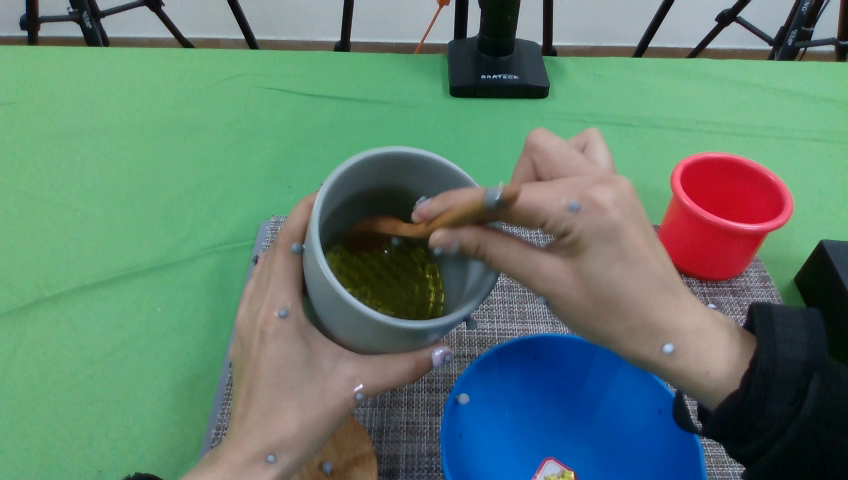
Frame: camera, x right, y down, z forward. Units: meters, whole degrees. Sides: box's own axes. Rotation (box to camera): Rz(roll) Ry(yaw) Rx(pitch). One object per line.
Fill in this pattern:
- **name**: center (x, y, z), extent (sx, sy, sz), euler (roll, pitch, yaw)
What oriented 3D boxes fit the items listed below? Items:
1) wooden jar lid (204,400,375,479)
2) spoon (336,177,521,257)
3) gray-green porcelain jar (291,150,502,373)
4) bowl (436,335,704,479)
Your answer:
- **wooden jar lid**: center (-0.085, 0.156, 0.390), extent (0.108, 0.021, 0.107), euler (1, 46, -1)
- **spoon**: center (-0.003, -0.007, 0.326), extent (0.042, 0.193, 0.021), euler (3, 84, -26)
- **gray-green porcelain jar**: center (-0.025, 0.022, 0.372), extent (0.106, 0.127, 0.105), euler (7, 65, -15)
- **bowl**: center (0.081, 0.141, 0.371), extent (0.151, 0.077, 0.150), euler (1, 46, -1)
